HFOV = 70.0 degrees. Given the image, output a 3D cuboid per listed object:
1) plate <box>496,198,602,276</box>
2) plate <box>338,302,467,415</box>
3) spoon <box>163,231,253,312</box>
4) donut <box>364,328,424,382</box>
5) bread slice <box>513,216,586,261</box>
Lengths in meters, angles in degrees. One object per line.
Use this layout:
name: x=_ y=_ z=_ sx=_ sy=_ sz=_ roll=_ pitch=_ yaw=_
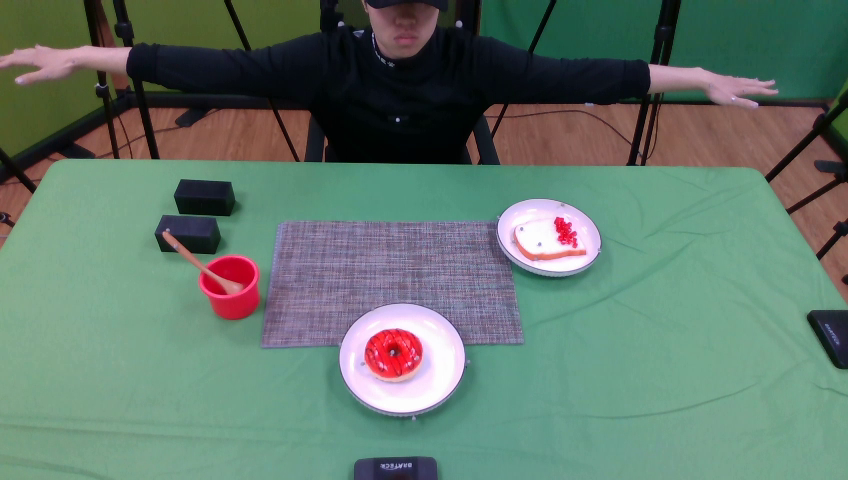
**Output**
plate: x=0.246 y=-0.002 z=1.205 sx=0.209 sy=0.038 sz=0.208 roll=2 pitch=45 yaw=-2
plate: x=-0.035 y=0.194 z=0.992 sx=0.208 sy=0.039 sz=0.206 roll=2 pitch=48 yaw=-2
spoon: x=-0.364 y=0.054 z=1.025 sx=0.194 sy=0.021 sz=0.041 roll=43 pitch=49 yaw=-17
donut: x=-0.049 y=0.185 z=0.984 sx=0.099 sy=0.048 sz=0.098 roll=1 pitch=45 yaw=-1
bread slice: x=0.247 y=-0.003 z=1.209 sx=0.132 sy=0.019 sz=0.104 roll=-8 pitch=47 yaw=-13
